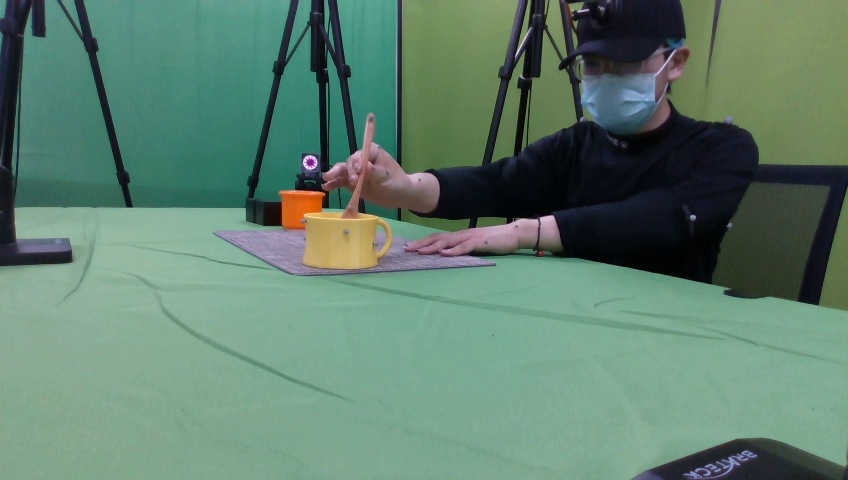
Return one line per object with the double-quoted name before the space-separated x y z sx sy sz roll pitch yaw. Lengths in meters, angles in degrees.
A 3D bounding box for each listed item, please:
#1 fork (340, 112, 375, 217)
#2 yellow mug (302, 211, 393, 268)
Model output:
"fork" -0.091 -0.081 0.823 0.028 0.207 0.018 17 -14 -26
"yellow mug" -0.098 -0.003 0.810 0.131 0.064 0.099 -2 8 -37
